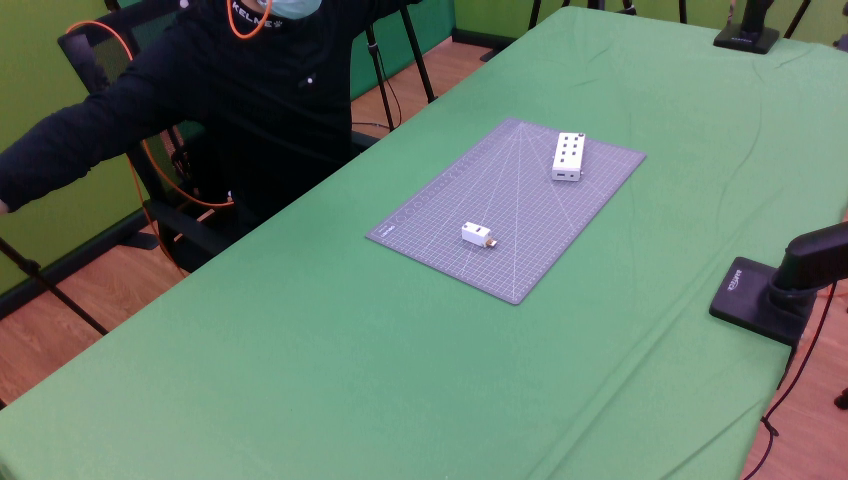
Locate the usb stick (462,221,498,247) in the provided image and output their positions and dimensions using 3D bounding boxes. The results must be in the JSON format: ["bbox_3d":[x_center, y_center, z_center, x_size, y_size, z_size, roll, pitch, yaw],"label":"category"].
[{"bbox_3d":[0.089,-0.007,0.956,0.059,0.027,0.021,24,48,28],"label":"usb stick"}]

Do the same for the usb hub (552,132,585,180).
[{"bbox_3d":[0.266,-0.154,1.103,0.049,0.025,0.125,6,43,15],"label":"usb hub"}]
